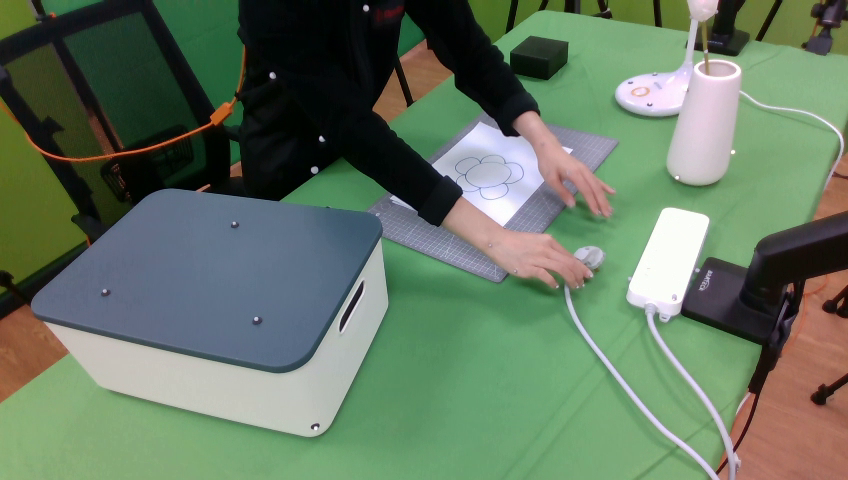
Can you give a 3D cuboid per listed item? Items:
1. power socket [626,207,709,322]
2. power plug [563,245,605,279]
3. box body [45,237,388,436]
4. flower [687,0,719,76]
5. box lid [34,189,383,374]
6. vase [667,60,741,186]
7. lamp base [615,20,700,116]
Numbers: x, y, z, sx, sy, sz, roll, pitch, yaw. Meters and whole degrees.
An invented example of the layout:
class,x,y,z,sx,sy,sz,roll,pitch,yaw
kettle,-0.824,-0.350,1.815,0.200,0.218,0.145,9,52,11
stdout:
class,x,y,z,sx,sy,sz,roll,pitch,yaw
power socket,0.360,0.026,0.886,0.072,0.033,0.227,17,46,26
power plug,0.234,0.037,0.889,0.072,0.053,0.035,-41,37,3
box body,-0.251,0.088,0.800,0.362,0.161,0.254,7,42,16
flower,0.436,-0.242,0.934,0.038,0.364,0.043,-24,49,8
box lid,-0.256,0.032,0.751,0.370,0.015,0.263,8,42,16
vase,0.463,-0.189,0.994,0.098,0.201,0.097,-4,40,3
lamp base,0.484,-0.364,1.211,0.180,0.181,0.159,-15,41,-14
